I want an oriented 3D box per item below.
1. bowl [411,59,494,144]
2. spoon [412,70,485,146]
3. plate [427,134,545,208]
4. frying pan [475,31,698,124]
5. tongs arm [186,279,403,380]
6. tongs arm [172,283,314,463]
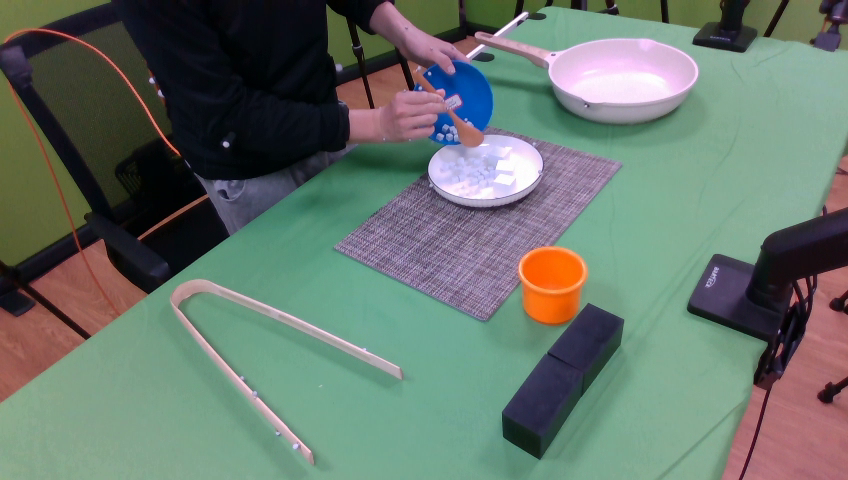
[{"bbox_3d":[0.054,-0.256,1.120,0.151,0.151,0.077,-3,15,5],"label":"bowl"},{"bbox_3d":[0.039,-0.216,1.006,0.041,0.195,0.021,-27,41,27],"label":"spoon"},{"bbox_3d":[0.109,-0.119,1.073,0.207,0.039,0.206,-4,41,4],"label":"plate"},{"bbox_3d":[0.320,-0.371,1.290,0.485,0.103,0.307,28,50,23],"label":"frying pan"},{"bbox_3d":[-0.193,0.120,0.853,0.385,0.028,0.028,17,49,27],"label":"tongs arm"},{"bbox_3d":[-0.246,0.161,0.806,0.381,0.026,0.051,29,51,36],"label":"tongs arm"}]
